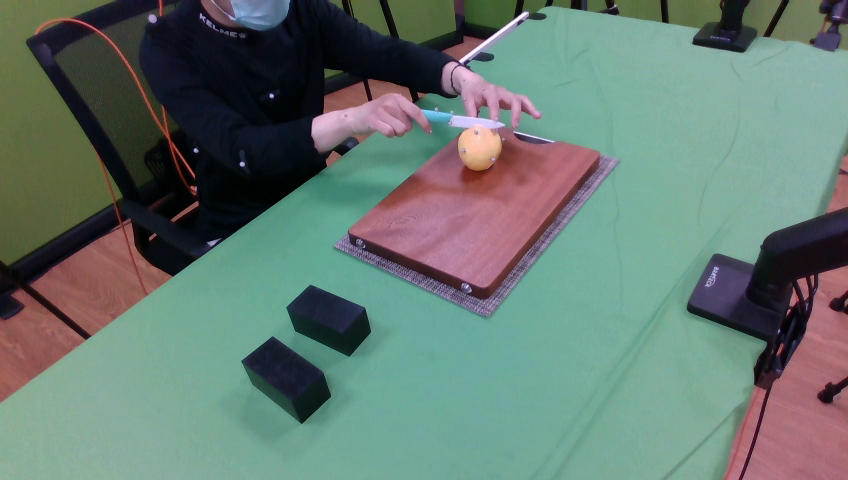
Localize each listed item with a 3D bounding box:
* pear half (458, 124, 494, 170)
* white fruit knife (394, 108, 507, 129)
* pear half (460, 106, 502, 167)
[{"bbox_3d":[0.085,-0.155,1.041,0.070,0.088,0.031,18,49,17],"label":"pear half"},{"bbox_3d":[0.042,-0.207,1.035,0.206,0.027,0.016,10,48,18],"label":"white fruit knife"},{"bbox_3d":[0.102,-0.186,1.057,0.076,0.110,0.056,15,40,19],"label":"pear half"}]
